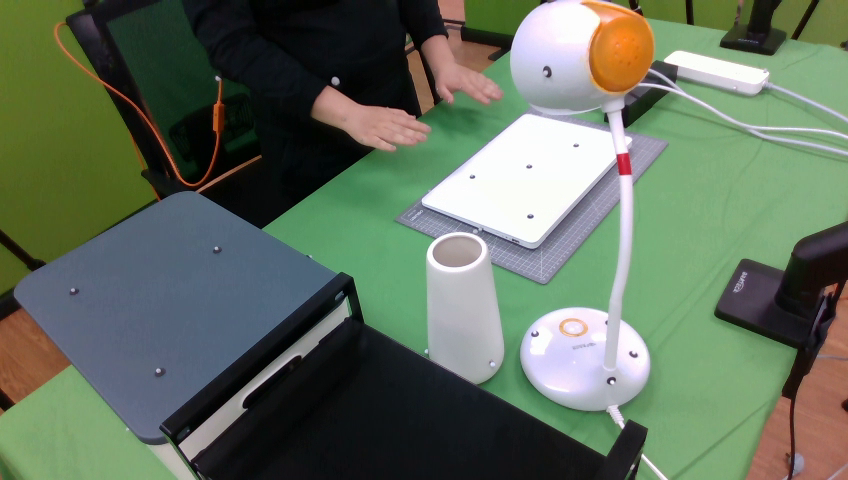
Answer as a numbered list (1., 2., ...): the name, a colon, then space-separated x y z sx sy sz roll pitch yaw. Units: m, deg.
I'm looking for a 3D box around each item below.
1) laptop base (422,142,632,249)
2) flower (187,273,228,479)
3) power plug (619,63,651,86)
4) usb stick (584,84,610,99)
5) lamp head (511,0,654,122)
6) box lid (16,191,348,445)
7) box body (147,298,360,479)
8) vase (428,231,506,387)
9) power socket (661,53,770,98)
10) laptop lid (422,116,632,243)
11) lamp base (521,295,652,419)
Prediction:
1. laptop base: 0.192 -0.116 1.087 0.233 0.023 0.355 21 47 34
2. flower: -0.282 0.161 0.819 0.044 0.038 0.359 9 34 -22
3. power plug: 0.435 -0.342 1.265 0.035 0.053 0.072 6 30 -14
4. usb stick: 0.353 -0.306 1.252 0.027 0.021 0.058 -2 1 -39
5. lamp head: 0.155 -0.168 0.563 0.113 0.113 0.122 -18 23 -12
6. box lid: -0.295 0.062 0.723 0.368 0.015 0.264 26 51 34
7. box body: -0.288 0.118 0.772 0.361 0.161 0.255 26 50 33
8. vase: 0.050 0.087 0.728 0.098 0.201 0.097 -3 40 3
9. power socket: 0.616 -0.355 1.292 0.225 0.033 0.072 29 53 35
10. laptop lid: 0.189 -0.126 1.081 0.239 0.013 0.358 23 48 35
11. lamp base: 0.200 0.095 0.710 0.161 0.181 0.178 -16 43 -10
